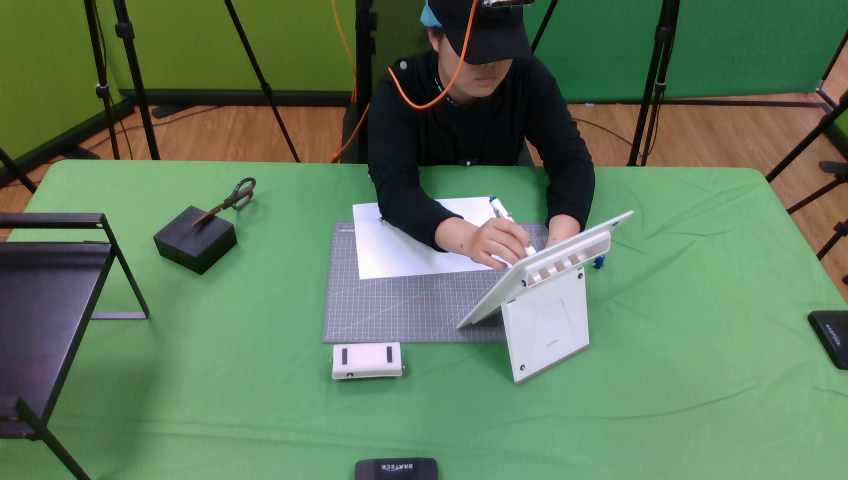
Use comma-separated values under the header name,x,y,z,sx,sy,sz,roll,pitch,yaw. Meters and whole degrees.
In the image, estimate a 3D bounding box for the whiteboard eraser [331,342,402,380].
name,x,y,z,sx,sy,sz,roll,pitch,yaw
whiteboard eraser,-0.094,0.198,0.986,0.113,0.042,0.055,-2,44,-6

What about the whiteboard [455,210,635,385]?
name,x,y,z,sx,sy,sz,roll,pitch,yaw
whiteboard,0.211,0.111,0.955,0.217,0.306,0.143,-21,71,-23

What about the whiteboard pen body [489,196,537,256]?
name,x,y,z,sx,sy,sz,roll,pitch,yaw
whiteboard pen body,0.148,-0.013,0.968,0.017,0.017,0.140,-27,75,-27

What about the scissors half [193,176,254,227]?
name,x,y,z,sx,sy,sz,roll,pitch,yaw
scissors half,-0.388,-0.075,1.174,0.013,0.040,0.174,29,47,8

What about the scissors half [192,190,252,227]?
name,x,y,z,sx,sy,sz,roll,pitch,yaw
scissors half,-0.393,-0.060,1.187,0.013,0.040,0.175,25,29,12

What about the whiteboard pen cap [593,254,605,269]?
name,x,y,z,sx,sy,sz,roll,pitch,yaw
whiteboard pen cap,0.340,0.042,1.179,0.018,0.033,0.018,2,46,-2
